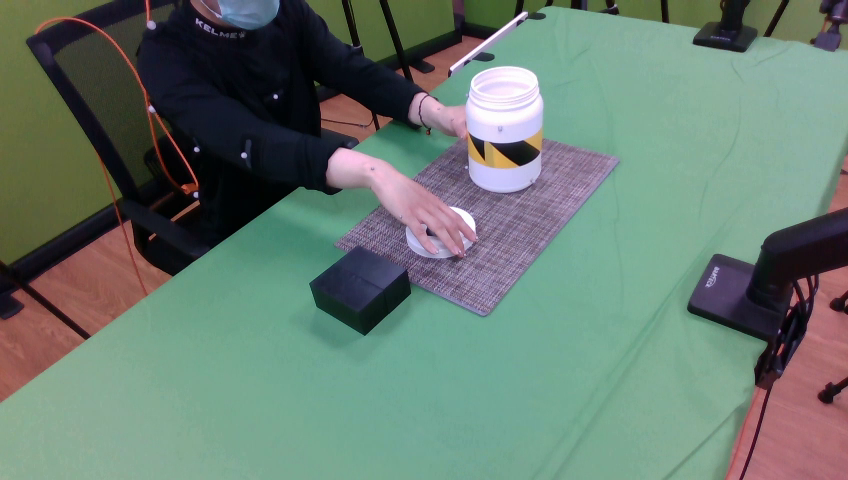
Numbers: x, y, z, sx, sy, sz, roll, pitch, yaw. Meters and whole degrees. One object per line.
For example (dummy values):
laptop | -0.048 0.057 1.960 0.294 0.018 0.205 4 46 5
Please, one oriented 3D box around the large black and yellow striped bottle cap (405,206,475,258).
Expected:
large black and yellow striped bottle cap | 0.026 -0.015 0.981 0.115 0.019 0.114 -2 41 3

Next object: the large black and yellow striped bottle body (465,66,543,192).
large black and yellow striped bottle body | 0.138 -0.190 1.040 0.131 0.185 0.130 -4 41 4
